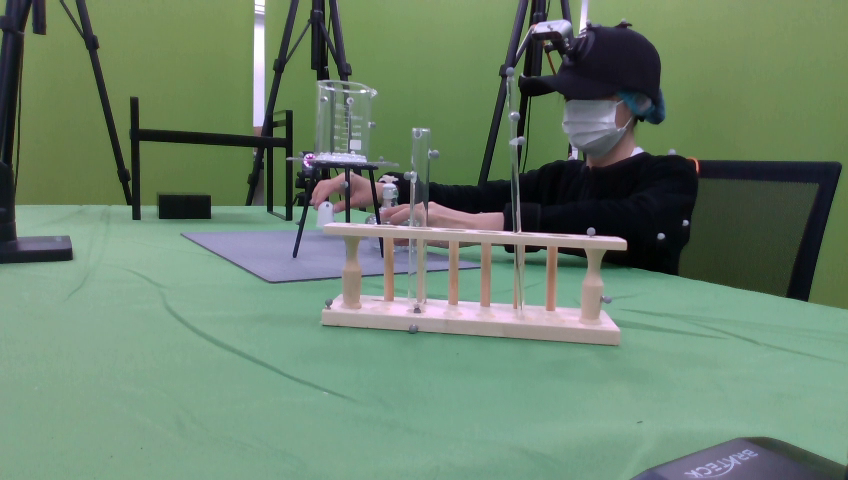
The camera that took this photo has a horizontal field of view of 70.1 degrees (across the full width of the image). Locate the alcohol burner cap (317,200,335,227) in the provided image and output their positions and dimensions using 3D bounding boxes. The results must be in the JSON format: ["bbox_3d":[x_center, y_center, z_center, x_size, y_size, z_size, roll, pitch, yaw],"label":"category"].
[{"bbox_3d":[-0.169,-0.046,1.049,0.034,0.048,0.034,4,5,0],"label":"alcohol burner cap"}]

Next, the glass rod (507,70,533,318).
[{"bbox_3d":[0.076,-0.031,0.476,0.008,0.199,0.008,-6,12,2],"label":"glass rod"}]

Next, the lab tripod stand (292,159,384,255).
[{"bbox_3d":[-0.105,-0.039,0.797,0.148,0.131,0.148,2,5,0],"label":"lab tripod stand"}]

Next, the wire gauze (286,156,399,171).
[{"bbox_3d":[-0.101,-0.103,0.788,0.121,0.011,0.125,5,4,6],"label":"wire gauze"}]

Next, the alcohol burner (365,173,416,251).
[{"bbox_3d":[-0.052,-0.044,0.928,0.078,0.119,0.078,-1,7,0],"label":"alcohol burner"}]

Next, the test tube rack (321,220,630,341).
[{"bbox_3d":[0.041,0.029,0.512,0.242,0.085,0.067,3,7,5],"label":"test tube rack"}]

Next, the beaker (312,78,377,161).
[{"bbox_3d":[-0.103,-0.151,0.776,0.084,0.100,0.074,5,7,14],"label":"beaker"}]

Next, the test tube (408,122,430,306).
[{"bbox_3d":[-0.004,-0.019,0.489,0.017,0.150,0.017,1,11,0],"label":"test tube"}]
